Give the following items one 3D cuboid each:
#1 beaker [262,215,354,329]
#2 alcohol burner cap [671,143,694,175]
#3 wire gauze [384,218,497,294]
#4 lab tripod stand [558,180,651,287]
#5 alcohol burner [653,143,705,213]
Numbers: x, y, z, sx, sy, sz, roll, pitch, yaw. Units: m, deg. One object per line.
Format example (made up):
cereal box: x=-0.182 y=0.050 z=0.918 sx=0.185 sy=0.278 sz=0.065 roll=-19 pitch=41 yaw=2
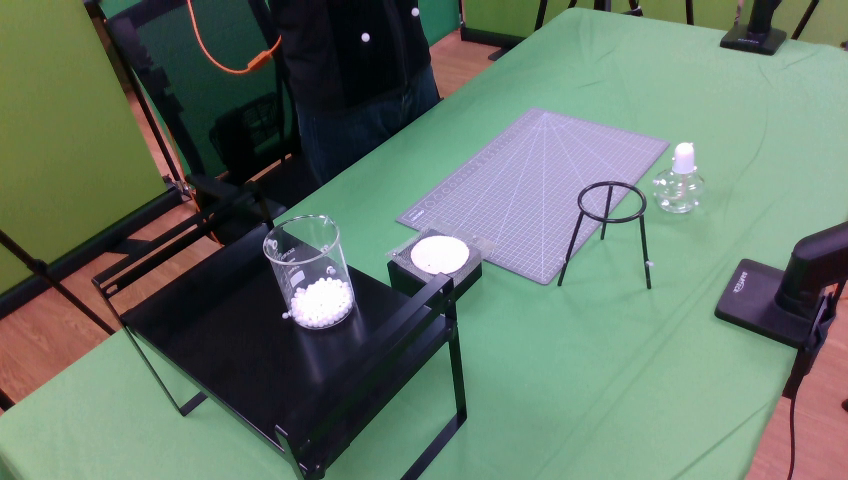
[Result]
beaker: x=-0.112 y=0.034 z=0.616 sx=0.073 sy=0.101 sz=0.084 roll=13 pitch=44 yaw=23
alcohol burner cap: x=0.403 y=-0.129 z=0.941 sx=0.034 sy=0.048 sz=0.033 roll=-9 pitch=39 yaw=8
wire gauze: x=0.024 y=0.016 z=0.886 sx=0.124 sy=0.011 sz=0.122 roll=28 pitch=49 yaw=33
lab tripod stand: x=0.258 y=-0.005 z=0.857 sx=0.148 sy=0.132 sz=0.147 roll=-4 pitch=43 yaw=4
alcohol burner: x=0.408 y=-0.103 z=0.963 sx=0.078 sy=0.119 sz=0.077 roll=-6 pitch=41 yaw=5
